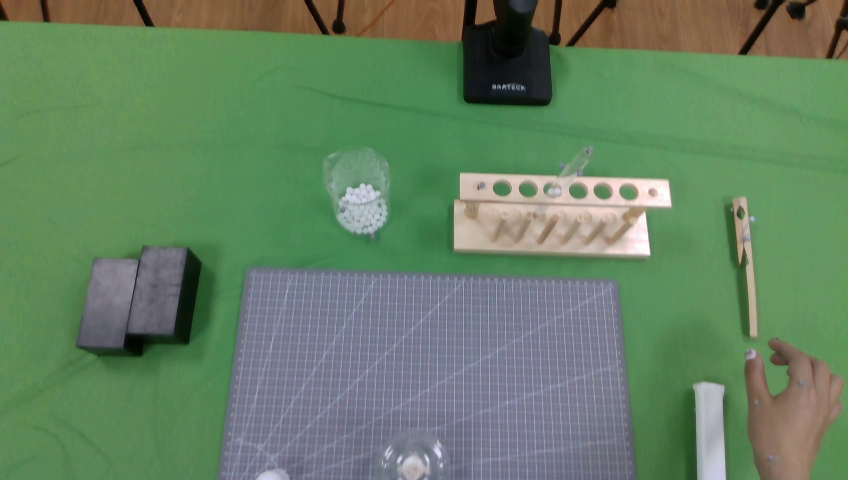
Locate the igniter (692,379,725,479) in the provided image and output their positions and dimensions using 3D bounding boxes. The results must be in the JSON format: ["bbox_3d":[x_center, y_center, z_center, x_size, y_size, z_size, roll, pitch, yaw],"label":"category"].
[{"bbox_3d":[0.306,0.288,0.646,0.057,0.025,0.275,12,69,-9],"label":"igniter"}]

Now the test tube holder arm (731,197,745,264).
[{"bbox_3d":[0.399,-0.012,0.768,0.010,0.015,0.087,-8,67,31],"label":"test tube holder arm"}]

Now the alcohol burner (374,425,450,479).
[{"bbox_3d":[-0.011,0.224,0.605,0.078,0.120,0.077,1,67,-3],"label":"alcohol burner"}]

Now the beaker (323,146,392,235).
[{"bbox_3d":[-0.079,-0.055,0.716,0.084,0.101,0.074,29,70,9],"label":"beaker"}]

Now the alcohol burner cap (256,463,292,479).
[{"bbox_3d":[-0.156,0.248,0.626,0.034,0.048,0.033,1,70,-3],"label":"alcohol burner cap"}]

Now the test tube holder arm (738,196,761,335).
[{"bbox_3d":[0.402,0.029,0.750,0.013,0.015,0.177,-10,66,30],"label":"test tube holder arm"}]

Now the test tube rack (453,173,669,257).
[{"bbox_3d":[0.159,-0.028,0.726,0.242,0.085,0.066,2,69,-2],"label":"test tube rack"}]

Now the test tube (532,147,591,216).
[{"bbox_3d":[0.151,-0.062,0.684,0.017,0.151,0.017,3,69,-8],"label":"test tube"}]
